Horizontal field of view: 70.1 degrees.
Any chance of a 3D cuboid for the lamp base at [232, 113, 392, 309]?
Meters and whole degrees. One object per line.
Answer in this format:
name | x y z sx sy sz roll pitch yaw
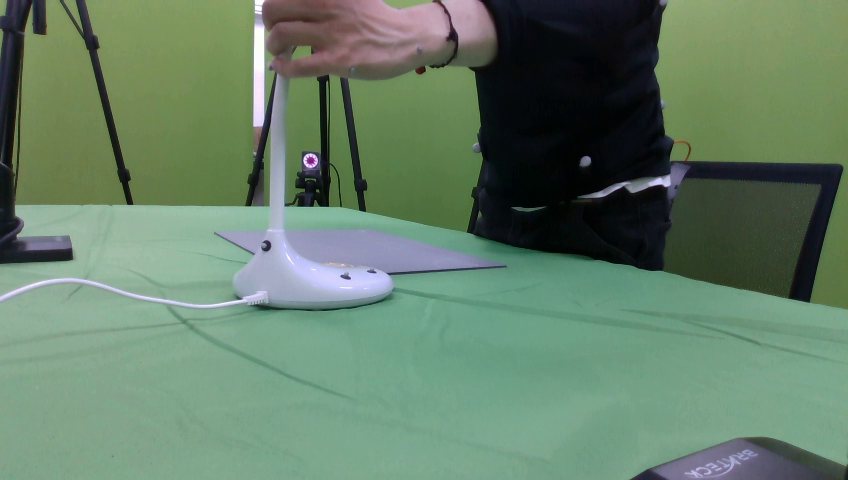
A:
lamp base | -0.113 -0.031 0.594 0.160 0.180 0.179 4 10 18
